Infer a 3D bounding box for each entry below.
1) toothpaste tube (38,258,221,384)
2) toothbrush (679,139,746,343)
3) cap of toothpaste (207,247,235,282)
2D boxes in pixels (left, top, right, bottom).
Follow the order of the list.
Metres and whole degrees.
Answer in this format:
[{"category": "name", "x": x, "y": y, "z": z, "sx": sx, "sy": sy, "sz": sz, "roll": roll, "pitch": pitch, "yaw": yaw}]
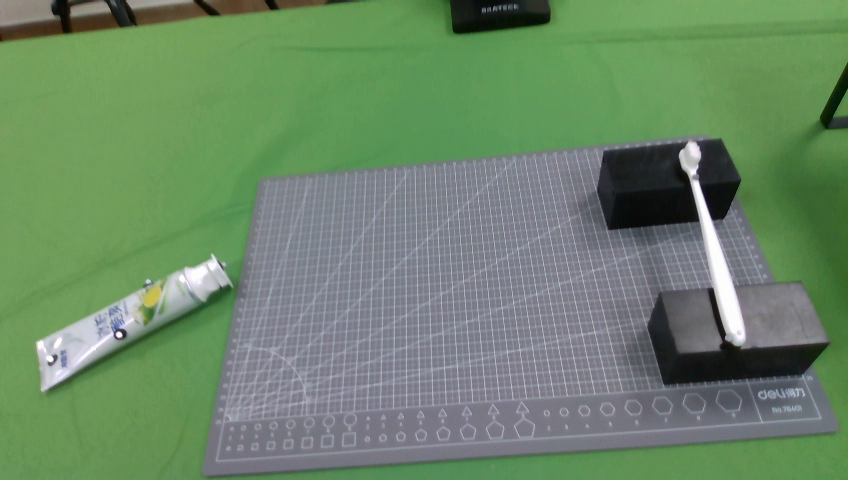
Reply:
[{"category": "toothpaste tube", "x": -0.250, "y": 0.060, "z": 0.521, "sx": 0.165, "sy": 0.035, "sz": 0.054, "roll": -28, "pitch": 48, "yaw": -9}, {"category": "toothbrush", "x": 0.214, "y": -0.007, "z": 0.451, "sx": 0.014, "sy": 0.017, "sz": 0.180, "roll": 8, "pitch": 55, "yaw": -5}, {"category": "cap of toothpaste", "x": -0.179, "y": 0.023, "z": 0.532, "sx": 0.011, "sy": 0.038, "sz": 0.037, "roll": -33, "pitch": 55, "yaw": -17}]
